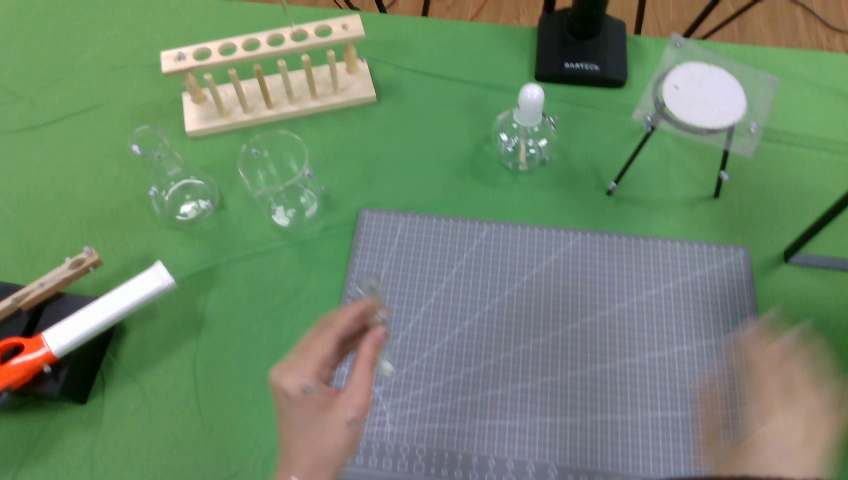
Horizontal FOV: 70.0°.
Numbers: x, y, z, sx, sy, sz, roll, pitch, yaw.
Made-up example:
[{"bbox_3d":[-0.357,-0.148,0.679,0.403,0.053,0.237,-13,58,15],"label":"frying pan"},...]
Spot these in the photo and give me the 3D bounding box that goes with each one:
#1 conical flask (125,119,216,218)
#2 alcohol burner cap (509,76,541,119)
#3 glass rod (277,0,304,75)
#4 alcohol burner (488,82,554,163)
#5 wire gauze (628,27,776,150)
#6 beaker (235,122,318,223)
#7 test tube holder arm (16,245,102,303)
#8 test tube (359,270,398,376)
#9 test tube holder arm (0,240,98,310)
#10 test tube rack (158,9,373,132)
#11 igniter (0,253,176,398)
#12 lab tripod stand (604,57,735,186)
[{"bbox_3d":[-0.287,-0.083,0.675,0.075,0.123,0.074,0,63,1],"label":"conical flask"},{"bbox_3d":[0.114,-0.162,0.675,0.034,0.048,0.033,0,63,0],"label":"alcohol burner cap"},{"bbox_3d":[-0.166,-0.271,0.713,0.008,0.201,0.008,-3,57,5],"label":"glass rod"},{"bbox_3d":[0.115,-0.144,0.707,0.078,0.120,0.077,0,62,-1],"label":"alcohol burner"},{"bbox_3d":[0.289,-0.157,0.624,0.121,0.011,0.124,26,67,11],"label":"wire gauze"},{"bbox_3d":[-0.162,-0.069,0.680,0.074,0.101,0.083,20,66,11],"label":"beaker"},{"bbox_3d":[-0.375,0.035,0.622,0.088,0.015,0.010,-34,68,-16],"label":"test tube holder arm"},{"bbox_3d":[-0.032,0.068,0.451,0.017,0.151,0.017,-1,55,2],"label":"test tube"},{"bbox_3d":[-0.414,0.056,0.611,0.178,0.015,0.013,-35,68,-16],"label":"test tube holder arm"},{"bbox_3d":[-0.193,-0.211,0.758,0.242,0.086,0.066,-13,64,-6],"label":"test tube rack"},{"bbox_3d":[-0.375,0.100,0.586,0.276,0.025,0.057,-35,70,-19],"label":"igniter"},{"bbox_3d":[0.283,-0.126,0.684,0.148,0.132,0.147,0,63,-1],"label":"lab tripod stand"}]
